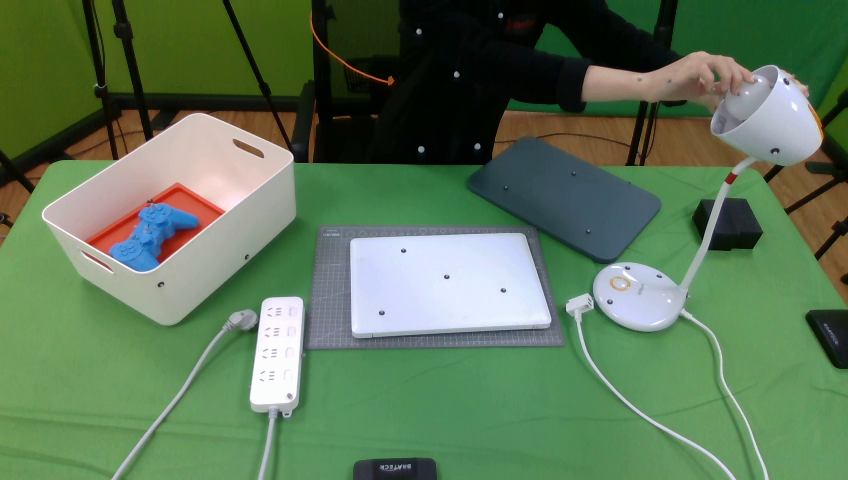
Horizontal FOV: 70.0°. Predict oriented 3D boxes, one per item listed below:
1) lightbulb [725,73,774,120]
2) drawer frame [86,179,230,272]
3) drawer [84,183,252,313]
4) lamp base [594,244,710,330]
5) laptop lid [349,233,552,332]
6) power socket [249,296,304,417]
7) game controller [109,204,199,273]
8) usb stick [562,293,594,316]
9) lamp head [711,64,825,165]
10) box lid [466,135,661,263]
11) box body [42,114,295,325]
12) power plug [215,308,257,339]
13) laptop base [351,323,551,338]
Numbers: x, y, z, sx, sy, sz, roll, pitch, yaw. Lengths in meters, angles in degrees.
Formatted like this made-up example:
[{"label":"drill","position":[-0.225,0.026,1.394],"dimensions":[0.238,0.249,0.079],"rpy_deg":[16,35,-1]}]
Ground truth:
[{"label":"lightbulb","position":[0.450,-0.175,0.805],"dimensions":[0.108,0.059,0.059],"rpy_deg":[38,49,-9]},{"label":"drawer frame","position":[-0.453,0.010,1.100],"dimensions":[0.201,0.083,0.213],"rpy_deg":[28,54,23]},{"label":"drawer","position":[-0.457,0.008,1.099],"dimensions":[0.194,0.073,0.211],"rpy_deg":[29,49,21]},{"label":"lamp base","position":[0.412,0.052,1.070],"dimensions":[0.179,0.181,0.160],"rpy_deg":[18,48,9]},{"label":"laptop lid","position":[0.040,0.070,1.119],"dimensions":[0.357,0.013,0.240],"rpy_deg":[-1,44,-5]},{"label":"power socket","position":[-0.239,0.182,0.996],"dimensions":[0.072,0.033,0.225],"rpy_deg":[-2,47,-5]},{"label":"game controller","position":[-0.467,-0.005,1.044],"dimensions":[0.097,0.052,0.154],"rpy_deg":[8,45,10]},{"label":"usb stick","position":[0.275,0.118,1.087],"dimensions":[0.021,0.059,0.027],"rpy_deg":[39,45,-27]},{"label":"lamp head","position":[0.466,-0.153,0.811],"dimensions":[0.123,0.112,0.112],"rpy_deg":[36,47,-13]},{"label":"box lid","position":[0.306,-0.102,1.327],"dimensions":[0.370,0.015,0.263],"rpy_deg":[32,52,25]},{"label":"box body","position":[-0.437,-0.046,1.110],"dimensions":[0.253,0.161,0.363],"rpy_deg":[24,49,19]},{"label":"power plug","position":[-0.317,0.143,1.024],"dimensions":[0.072,0.053,0.035],"rpy_deg":[-32,57,-8]},{"label":"laptop base","position":[0.040,0.080,1.125],"dimensions":[0.355,0.023,0.234],"rpy_deg":[-2,43,-6]}]
